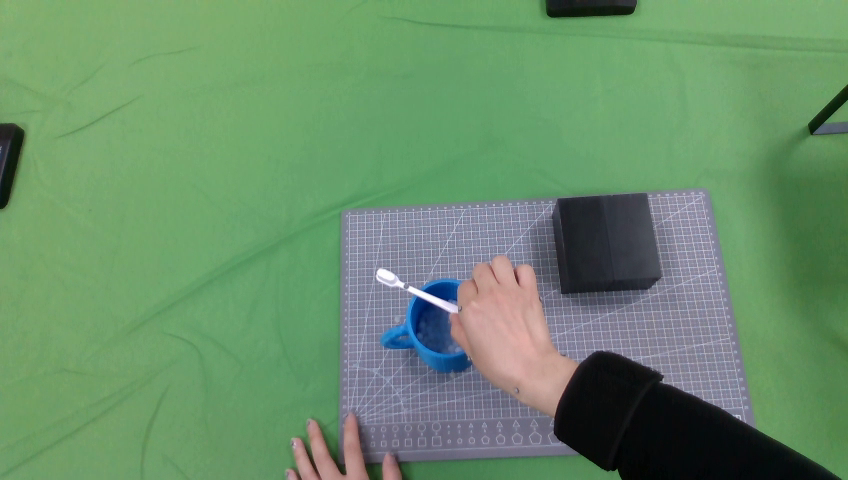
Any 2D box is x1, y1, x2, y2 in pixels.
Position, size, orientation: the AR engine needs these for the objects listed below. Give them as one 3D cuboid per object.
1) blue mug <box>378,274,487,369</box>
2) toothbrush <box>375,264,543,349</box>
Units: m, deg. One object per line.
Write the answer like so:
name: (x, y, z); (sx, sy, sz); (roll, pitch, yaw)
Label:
blue mug: (0.008, 0.093, 0.648); (0.116, 0.106, 0.082); (-12, 71, -1)
toothbrush: (0.032, 0.065, 0.595); (0.181, 0.017, 0.014); (24, 58, 10)
